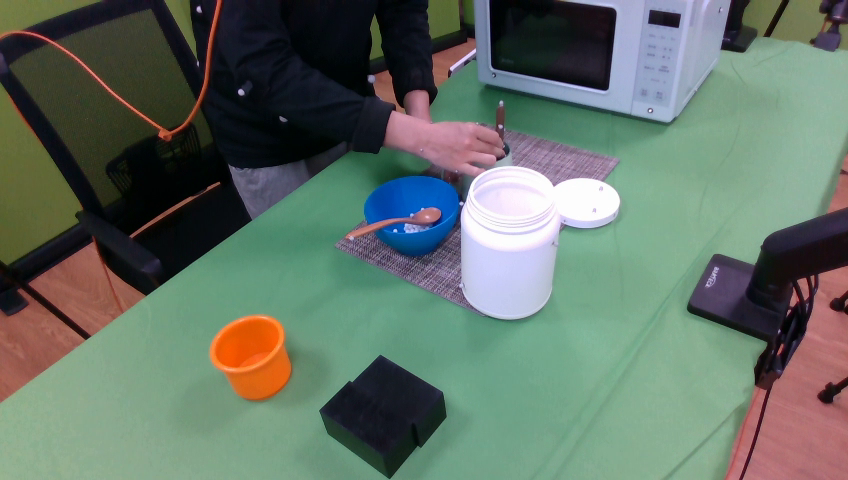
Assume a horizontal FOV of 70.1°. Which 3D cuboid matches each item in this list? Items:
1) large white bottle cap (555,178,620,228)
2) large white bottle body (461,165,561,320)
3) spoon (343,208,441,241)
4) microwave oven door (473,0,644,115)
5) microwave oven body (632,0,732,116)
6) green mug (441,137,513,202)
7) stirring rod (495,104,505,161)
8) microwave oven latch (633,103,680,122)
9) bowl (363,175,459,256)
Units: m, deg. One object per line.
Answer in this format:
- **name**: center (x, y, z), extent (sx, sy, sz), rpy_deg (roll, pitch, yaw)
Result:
- **large white bottle cap**: center (0.265, -0.063, 1.001), extent (0.115, 0.018, 0.114), rpy_deg (-3, 42, 3)
- **large white bottle body**: center (0.115, 0.004, 0.816), extent (0.130, 0.185, 0.130), rpy_deg (-2, 43, 2)
- **spoon**: center (-0.046, -0.025, 0.911), extent (0.041, 0.021, 0.195), rpy_deg (26, 27, 37)
- **microwave oven door**: center (0.257, -0.396, 1.199), extent (0.353, 0.245, 0.039), rpy_deg (21, 48, 29)
- **microwave oven body**: center (0.377, -0.463, 1.267), extent (0.438, 0.261, 0.327), rpy_deg (21, 48, 30)
- **green mug**: center (0.090, -0.108, 1.012), extent (0.125, 0.105, 0.092), rpy_deg (2, 42, 11)
- **stirring rod**: center (0.122, -0.137, 0.974), extent (0.014, 0.177, 0.005), rpy_deg (-20, 42, -19)
- **microwave oven latch**: center (0.443, -0.249, 1.157), extent (0.078, 0.029, 0.030), rpy_deg (20, 48, 30)
- **bowl**: center (-0.017, -0.028, 0.954), extent (0.151, 0.077, 0.150), rpy_deg (-4, 40, 4)
